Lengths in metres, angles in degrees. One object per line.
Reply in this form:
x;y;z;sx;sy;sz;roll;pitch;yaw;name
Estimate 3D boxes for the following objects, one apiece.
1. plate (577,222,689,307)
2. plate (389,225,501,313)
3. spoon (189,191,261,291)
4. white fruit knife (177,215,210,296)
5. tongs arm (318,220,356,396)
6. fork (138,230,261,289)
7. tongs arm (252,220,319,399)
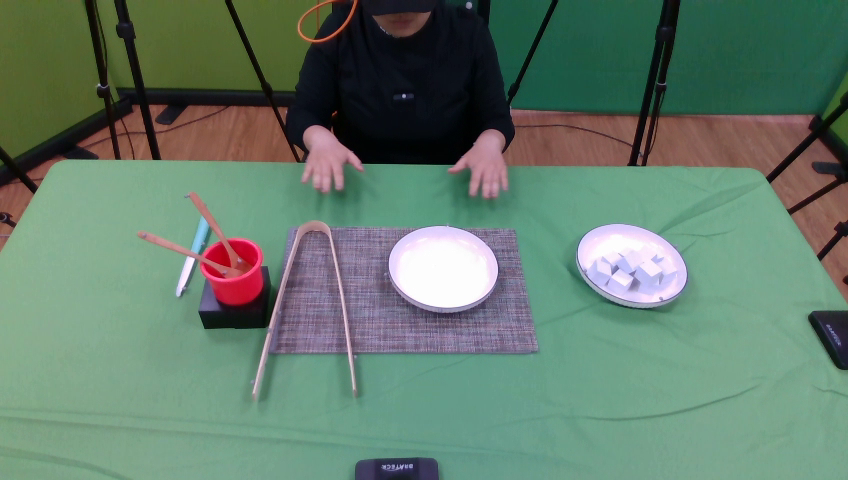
0.396;0.050;1.165;0.209;0.038;0.208;2;47;-2;plate
0.038;0.057;1.128;0.208;0.039;0.206;2;46;-2;plate
-0.333;0.001;1.011;0.041;0.194;0.021;-34;15;-25;spoon
-0.435;0.025;1.148;0.027;0.016;0.206;-18;45;19;white fruit knife
-0.154;0.103;1.074;0.028;0.028;0.385;-11;47;-7;tongs arm
-0.360;0.032;0.981;0.208;0.018;0.028;31;60;-30;fork
-0.237;0.105;1.067;0.051;0.026;0.382;1;46;0;tongs arm
